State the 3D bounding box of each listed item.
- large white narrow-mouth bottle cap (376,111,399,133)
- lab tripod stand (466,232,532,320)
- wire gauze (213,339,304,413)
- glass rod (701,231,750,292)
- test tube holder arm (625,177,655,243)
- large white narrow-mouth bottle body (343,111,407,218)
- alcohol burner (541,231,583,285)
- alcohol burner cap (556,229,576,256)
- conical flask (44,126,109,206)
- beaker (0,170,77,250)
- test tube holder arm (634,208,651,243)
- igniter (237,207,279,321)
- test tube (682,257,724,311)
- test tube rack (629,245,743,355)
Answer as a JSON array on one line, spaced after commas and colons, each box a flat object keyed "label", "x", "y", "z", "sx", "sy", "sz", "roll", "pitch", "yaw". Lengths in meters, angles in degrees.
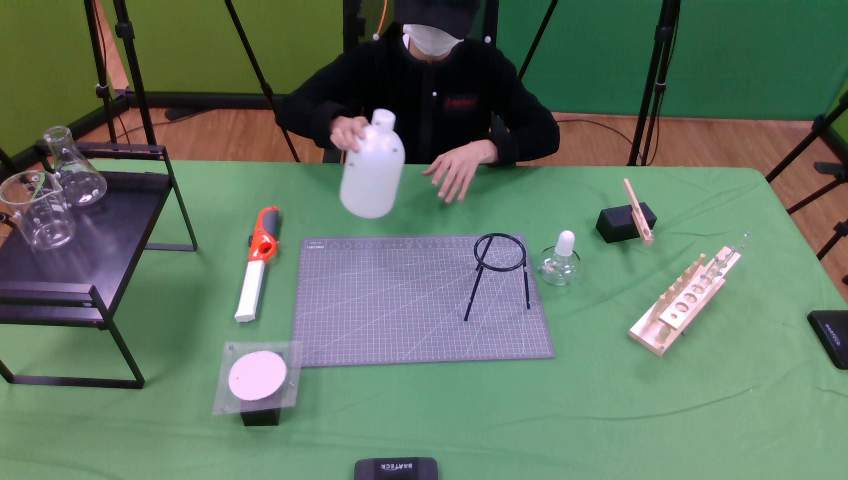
[{"label": "large white narrow-mouth bottle cap", "x": -0.062, "y": -0.202, "z": 1.033, "sx": 0.038, "sy": 0.024, "sz": 0.037, "roll": 11, "pitch": 39, "yaw": -9}, {"label": "lab tripod stand", "x": 0.125, "y": 0.059, "z": 1.065, "sx": 0.148, "sy": 0.132, "sz": 0.147, "roll": 1, "pitch": 45, "yaw": 0}, {"label": "wire gauze", "x": -0.250, "y": 0.203, "z": 0.924, "sx": 0.121, "sy": 0.011, "sz": 0.124, "roll": -1, "pitch": 46, "yaw": -3}, {"label": "glass rod", "x": 0.519, "y": 0.045, "z": 1.050, "sx": 0.008, "sy": 0.201, "sz": 0.008, "roll": 0, "pitch": 55, "yaw": 0}, {"label": "test tube holder arm", "x": 0.433, "y": -0.063, "z": 1.220, "sx": 0.013, "sy": 0.015, "sz": 0.177, "roll": 1, "pitch": 47, "yaw": -3}, {"label": "large white narrow-mouth bottle body", "x": -0.084, "y": -0.140, "z": 1.088, "sx": 0.102, "sy": 0.195, "sz": 0.101, "roll": 11, "pitch": 39, "yaw": -9}, {"label": "alcohol burner", "x": 0.258, "y": 0.028, "z": 1.123, "sx": 0.078, "sy": 0.120, "sz": 0.077, "roll": 1, "pitch": 47, "yaw": -1}, {"label": "alcohol burner cap", "x": 0.260, "y": 0.002, "z": 1.098, "sx": 0.034, "sy": 0.048, "sz": 0.033, "roll": 3, "pitch": 40, "yaw": -2}, {"label": "conical flask", "x": -0.554, "y": -0.119, "z": 0.953, "sx": 0.075, "sy": 0.122, "sz": 0.075, "roll": 2, "pitch": 46, "yaw": -2}, {"label": "beaker", "x": -0.562, "y": -0.042, "z": 0.894, "sx": 0.084, "sy": 0.101, "sz": 0.073, "roll": -2, "pitch": 47, "yaw": -7}, {"label": "test tube holder arm", "x": 0.428, "y": -0.030, "z": 1.189, "sx": 0.010, "sy": 0.015, "sz": 0.087, "roll": 1, "pitch": 47, "yaw": -2}, {"label": "igniter", "x": -0.309, "y": 0.035, "z": 1.136, "sx": 0.057, "sy": 0.025, "sz": 0.274, "roll": -7, "pitch": 45, "yaw": 4}, {"label": "test tube", "x": 0.475, "y": 0.080, "z": 1.037, "sx": 0.017, "sy": 0.151, "sz": 0.017, "roll": 2, "pitch": 51, "yaw": -2}, {"label": "test tube rack", "x": 0.474, "y": 0.095, "z": 1.091, "sx": 0.242, "sy": 0.085, "sz": 0.066, "roll": -34, "pitch": 56, "yaw": -31}]
